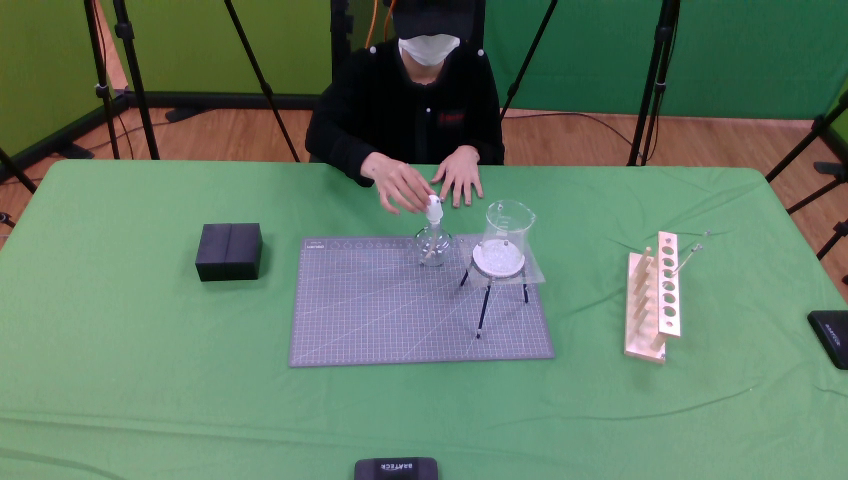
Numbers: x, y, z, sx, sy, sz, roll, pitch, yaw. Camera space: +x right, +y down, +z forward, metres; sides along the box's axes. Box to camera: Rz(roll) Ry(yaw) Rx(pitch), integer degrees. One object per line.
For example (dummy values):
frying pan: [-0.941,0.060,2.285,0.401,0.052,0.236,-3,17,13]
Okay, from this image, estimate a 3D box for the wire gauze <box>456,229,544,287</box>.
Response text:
wire gauze: [0.125,0.030,1.008,0.125,0.011,0.120,-2,48,-11]

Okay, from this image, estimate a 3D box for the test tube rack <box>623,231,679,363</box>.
test tube rack: [0.410,0.094,1.096,0.066,0.085,0.241,13,46,9]

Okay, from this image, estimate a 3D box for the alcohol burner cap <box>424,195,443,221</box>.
alcohol burner cap: [0.015,-0.060,1.081,0.034,0.048,0.033,-4,48,4]

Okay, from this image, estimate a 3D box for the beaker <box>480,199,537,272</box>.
beaker: [0.132,-0.004,0.973,0.084,0.101,0.073,-4,47,-9]

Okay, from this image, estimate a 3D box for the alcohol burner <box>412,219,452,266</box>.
alcohol burner: [0.017,-0.006,1.139,0.078,0.119,0.077,2,48,-2]

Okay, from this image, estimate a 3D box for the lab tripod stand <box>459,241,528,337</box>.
lab tripod stand: [0.122,0.075,1.054,0.148,0.132,0.147,3,44,-3]

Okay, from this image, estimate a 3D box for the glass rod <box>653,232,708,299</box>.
glass rod: [0.441,0.049,1.050,0.008,0.200,0.008,4,52,-5]
